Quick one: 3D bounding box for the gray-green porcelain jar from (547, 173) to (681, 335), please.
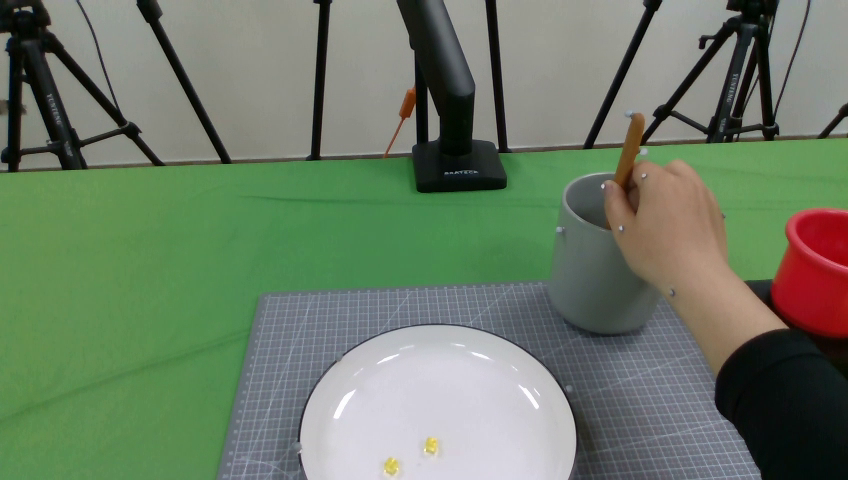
[{"bbox_3d":[0.172,0.017,0.570,0.106,0.127,0.105,0,37,0],"label":"gray-green porcelain jar"}]

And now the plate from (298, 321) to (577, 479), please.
[{"bbox_3d":[0.010,0.147,0.467,0.208,0.039,0.205,0,36,0],"label":"plate"}]

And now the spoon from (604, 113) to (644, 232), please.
[{"bbox_3d":[0.162,-0.018,0.517,0.022,0.195,0.041,-18,43,-15],"label":"spoon"}]

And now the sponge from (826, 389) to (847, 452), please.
[{"bbox_3d":[0.400,0.182,0.406,0.118,0.061,0.204,-5,36,-7],"label":"sponge"}]
